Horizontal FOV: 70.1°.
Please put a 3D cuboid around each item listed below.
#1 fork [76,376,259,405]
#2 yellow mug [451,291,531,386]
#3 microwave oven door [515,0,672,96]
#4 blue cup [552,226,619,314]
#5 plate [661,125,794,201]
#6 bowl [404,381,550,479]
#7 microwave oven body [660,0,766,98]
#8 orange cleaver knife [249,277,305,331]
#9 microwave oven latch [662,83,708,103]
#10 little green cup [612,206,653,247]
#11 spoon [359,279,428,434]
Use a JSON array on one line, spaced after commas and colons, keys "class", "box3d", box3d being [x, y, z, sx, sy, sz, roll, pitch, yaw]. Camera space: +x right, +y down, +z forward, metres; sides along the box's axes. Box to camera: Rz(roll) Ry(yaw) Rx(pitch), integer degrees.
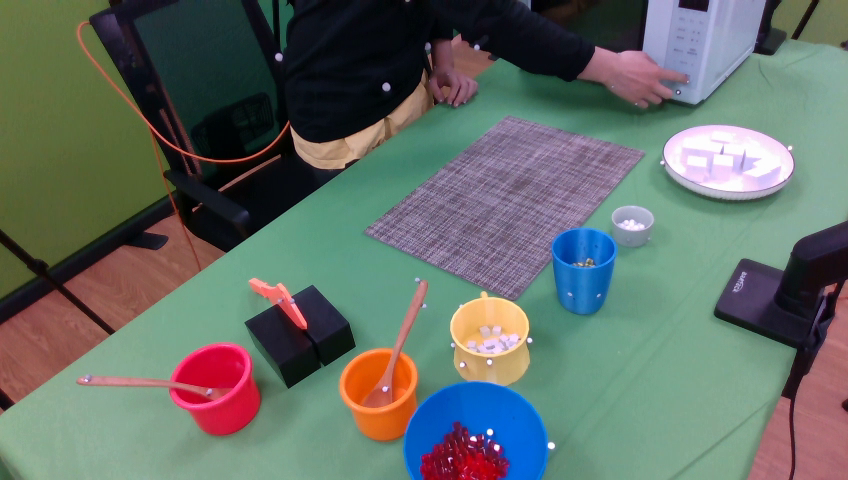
[{"class": "fork", "box3d": [-0.295, 0.176, 0.716, 0.209, 0.018, 0.028, 19, 27, -37]}, {"class": "yellow mug", "box3d": [0.085, 0.120, 0.786, 0.100, 0.064, 0.130, -7, 39, 1]}, {"class": "microwave oven door", "box3d": [0.344, -0.455, 1.260, 0.353, 0.245, 0.039, 26, 51, 33]}, {"class": "blue cup", "box3d": [0.218, 0.047, 0.825, 0.092, 0.101, 0.092, -6, 40, 5]}, {"class": "plate", "box3d": [0.513, -0.128, 1.035, 0.207, 0.039, 0.206, -4, 40, 4]}, {"class": "bowl", "box3d": [0.058, 0.235, 0.645, 0.151, 0.077, 0.150, -4, 39, 4]}, {"class": "microwave oven body", "box3d": [0.472, -0.513, 1.317, 0.438, 0.261, 0.327, 26, 51, 34]}, {"class": "orange cleaver knife", "box3d": [-0.210, 0.088, 0.856, 0.012, 0.077, 0.210, -28, 15, -25]}, {"class": "microwave oven latch", "box3d": [0.518, -0.296, 1.204, 0.078, 0.029, 0.030, 28, 52, 35]}, {"class": "little green cup", "box3d": [0.321, -0.019, 0.936, 0.061, 0.039, 0.061, -4, 41, 4]}, {"class": "spoon", "box3d": [-0.032, 0.138, 0.719, 0.041, 0.193, 0.022, 22, 4, 30]}]
